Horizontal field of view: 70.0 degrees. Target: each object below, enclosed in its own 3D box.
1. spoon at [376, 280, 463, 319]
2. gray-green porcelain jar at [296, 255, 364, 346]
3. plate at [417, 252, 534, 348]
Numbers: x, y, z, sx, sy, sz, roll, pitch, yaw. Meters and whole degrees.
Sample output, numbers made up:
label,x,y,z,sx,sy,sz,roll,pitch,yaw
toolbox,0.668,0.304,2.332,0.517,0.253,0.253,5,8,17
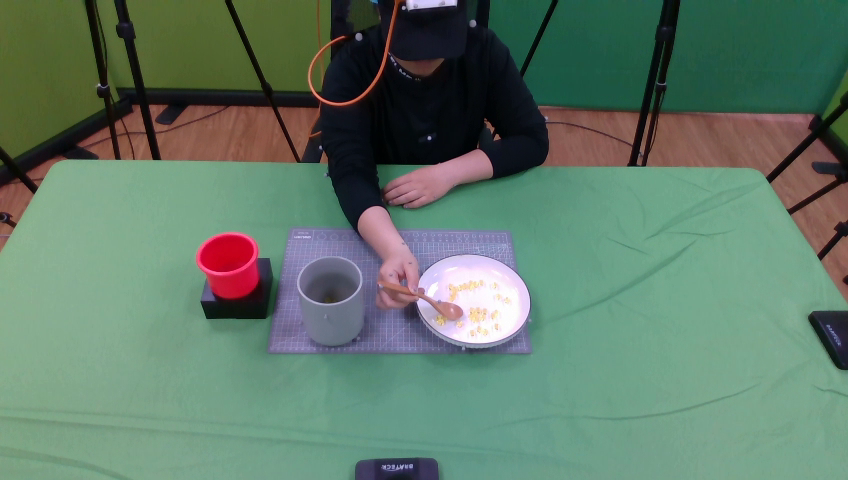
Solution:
label,x,y,z,sx,sy,sz,roll,pitch,yaw
spoon,-0.005,0.096,1.012,0.195,0.021,0.041,28,26,-39
gray-green porcelain jar,-0.153,0.106,1.008,0.106,0.127,0.105,2,46,-2
plate,0.090,0.109,1.084,0.208,0.039,0.206,2,46,-2
